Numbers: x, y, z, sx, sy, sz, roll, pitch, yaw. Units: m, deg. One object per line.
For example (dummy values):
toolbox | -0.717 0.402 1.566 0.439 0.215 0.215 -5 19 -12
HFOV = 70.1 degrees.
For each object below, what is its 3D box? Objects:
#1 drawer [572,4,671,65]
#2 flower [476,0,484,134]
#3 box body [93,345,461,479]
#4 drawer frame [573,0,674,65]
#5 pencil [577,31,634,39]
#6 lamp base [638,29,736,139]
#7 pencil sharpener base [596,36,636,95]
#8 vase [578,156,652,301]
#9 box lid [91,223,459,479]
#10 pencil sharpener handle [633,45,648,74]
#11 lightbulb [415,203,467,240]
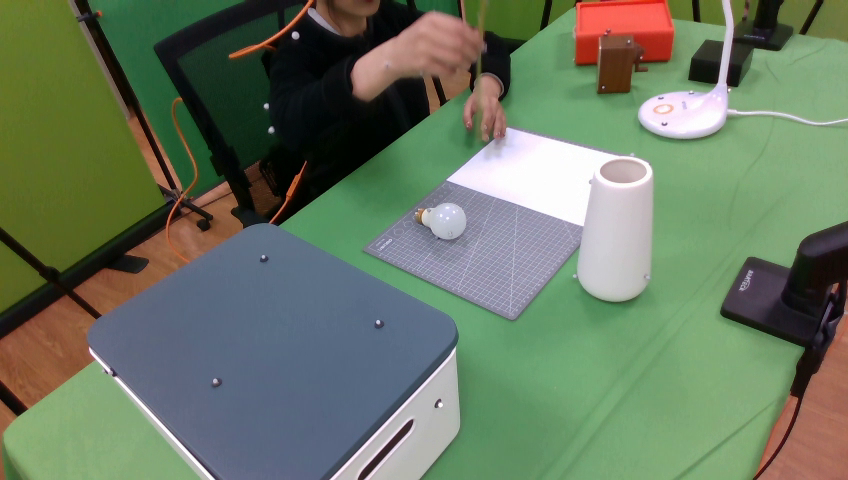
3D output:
drawer | 0.461 -0.490 1.435 0.211 0.073 0.194 2 41 12
flower | 0.073 -0.250 0.798 0.044 0.363 0.038 26 70 18
box body | -0.162 0.170 0.708 0.361 0.161 0.255 25 50 34
drawer frame | 0.464 -0.492 1.434 0.213 0.083 0.201 1 40 12
pencil | 0.431 -0.488 1.443 0.012 0.012 0.192 -25 30 -18
lamp base | 0.501 -0.302 1.125 0.179 0.181 0.160 -4 40 3
pencil sharpener base | 0.406 -0.369 1.280 0.076 0.107 0.061 1 41 13
vase | 0.261 -0.011 0.812 0.098 0.201 0.097 -4 40 4
box lid | -0.174 0.102 0.666 0.368 0.015 0.264 24 48 35
pencil sharpener handle | 0.454 -0.378 1.262 0.030 0.068 0.036 1 47 13
lightbulb | 0.024 -0.034 0.999 0.060 0.060 0.107 -38 32 -30
